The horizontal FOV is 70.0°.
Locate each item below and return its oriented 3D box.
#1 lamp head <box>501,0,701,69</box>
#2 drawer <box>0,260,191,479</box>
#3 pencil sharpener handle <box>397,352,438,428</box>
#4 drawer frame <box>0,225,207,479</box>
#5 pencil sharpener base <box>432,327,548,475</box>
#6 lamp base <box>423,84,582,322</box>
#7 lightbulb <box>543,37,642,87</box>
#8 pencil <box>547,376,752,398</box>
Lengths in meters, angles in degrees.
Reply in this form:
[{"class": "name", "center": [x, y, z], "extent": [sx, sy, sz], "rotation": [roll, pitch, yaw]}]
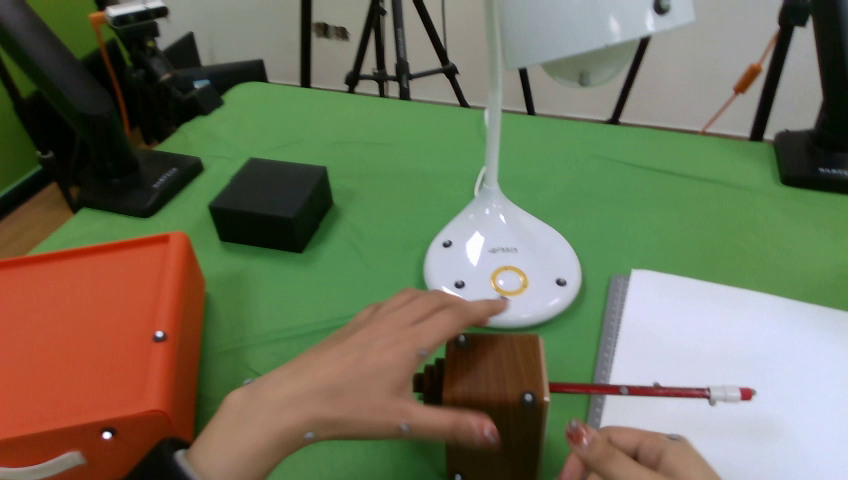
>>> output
[{"class": "lamp head", "center": [0.090, -0.170, 0.350], "extent": [0.112, 0.123, 0.112], "rotation": [-16, 11, 3]}, {"class": "drawer", "center": [-0.296, 0.097, 0.510], "extent": [0.195, 0.074, 0.209], "rotation": [-10, 39, -8]}, {"class": "pencil sharpener handle", "center": [-0.006, 0.111, 0.436], "extent": [0.030, 0.068, 0.035], "rotation": [0, 32, 5]}, {"class": "drawer frame", "center": [-0.299, 0.094, 0.511], "extent": [0.202, 0.083, 0.211], "rotation": [-11, 40, -8]}, {"class": "pencil sharpener base", "center": [0.046, 0.119, 0.443], "extent": [0.076, 0.108, 0.061], "rotation": [0, 40, 4]}, {"class": "lamp base", "center": [0.073, -0.043, 0.578], "extent": [0.161, 0.182, 0.177], "rotation": [-9, 38, -8]}, {"class": "lightbulb", "center": [0.095, -0.144, 0.350], "extent": [0.059, 0.108, 0.059], "rotation": [-5, 16, 2]}, {"class": "pencil", "center": [0.125, 0.099, 0.419], "extent": [0.194, 0.012, 0.012], "rotation": [1, 40, 4]}]
